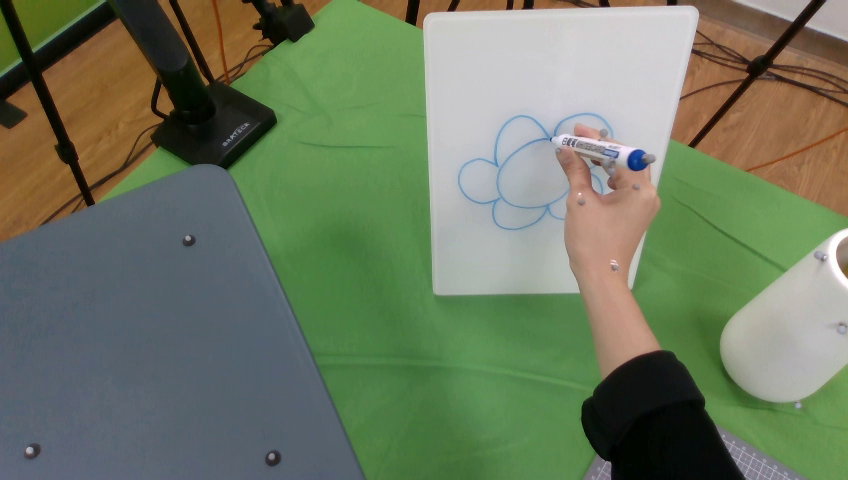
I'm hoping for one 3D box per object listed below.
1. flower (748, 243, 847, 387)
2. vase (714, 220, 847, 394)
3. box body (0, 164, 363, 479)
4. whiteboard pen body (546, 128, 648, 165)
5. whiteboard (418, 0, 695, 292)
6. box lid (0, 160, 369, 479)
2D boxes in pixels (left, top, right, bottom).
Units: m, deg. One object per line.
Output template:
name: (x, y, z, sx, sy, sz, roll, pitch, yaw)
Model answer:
flower: (0.333, 0.006, 0.471, 0.044, 0.365, 0.038, 24, 45, 19)
vase: (0.334, 0.063, 0.534, 0.098, 0.202, 0.097, -1, 57, 2)
box body: (-0.219, 0.146, 0.520, 0.254, 0.162, 0.360, -25, 62, -13)
whiteboard pen body: (0.128, -0.076, 0.473, 0.017, 0.017, 0.139, -19, 20, -10)
whiteboard: (0.110, -0.107, 0.617, 0.217, 0.308, 0.142, -1, 40, 2)
box lid: (-0.222, 0.106, 0.457, 0.263, 0.015, 0.368, -25, 61, -13)
